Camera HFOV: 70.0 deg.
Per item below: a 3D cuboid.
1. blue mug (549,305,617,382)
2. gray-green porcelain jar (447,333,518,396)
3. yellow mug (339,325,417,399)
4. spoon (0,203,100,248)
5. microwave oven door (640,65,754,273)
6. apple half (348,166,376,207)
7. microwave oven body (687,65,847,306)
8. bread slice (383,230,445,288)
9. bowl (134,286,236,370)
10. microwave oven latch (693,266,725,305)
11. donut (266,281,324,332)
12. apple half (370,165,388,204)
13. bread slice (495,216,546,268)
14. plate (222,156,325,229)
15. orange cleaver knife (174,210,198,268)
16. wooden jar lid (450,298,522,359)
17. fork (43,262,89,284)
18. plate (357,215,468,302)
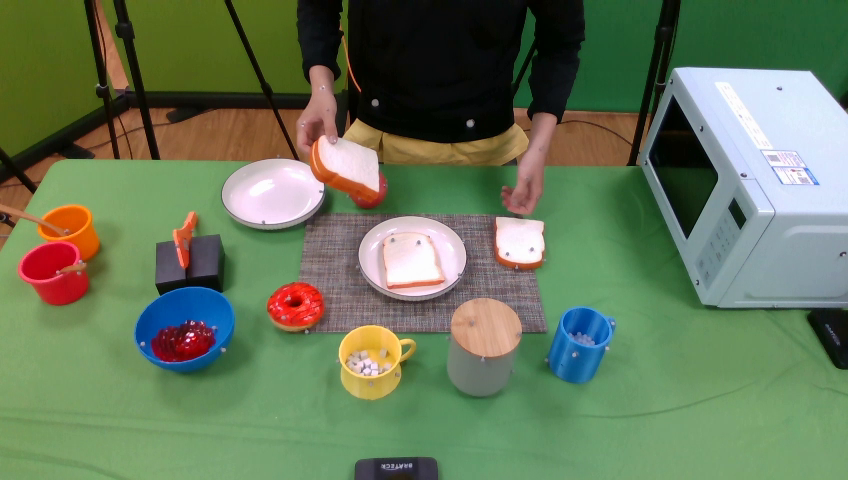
[{"bbox_3d":[0.269,0.166,0.998,0.116,0.106,0.082,-19,51,-21],"label":"blue mug"},{"bbox_3d":[0.091,0.178,0.960,0.106,0.127,0.105,2,47,-2],"label":"gray-green porcelain jar"},{"bbox_3d":[-0.072,0.190,0.978,0.131,0.064,0.099,-17,50,-20],"label":"yellow mug"},{"bbox_3d":[-0.683,-0.031,1.088,0.195,0.021,0.041,33,33,-38],"label":"spoon"},{"bbox_3d":[0.523,-0.147,1.193,0.039,0.245,0.353,0,47,-3],"label":"microwave oven door"},{"bbox_3d":[-0.130,-0.109,1.254,0.053,0.075,0.080,-10,50,-7],"label":"apple half"},{"bbox_3d":[0.669,-0.111,1.176,0.326,0.261,0.439,0,46,-3],"label":"microwave oven body"},{"bbox_3d":[-0.028,0.035,1.144,0.107,0.018,0.133,-7,48,-12],"label":"bread slice"},{"bbox_3d":[-0.377,0.155,0.981,0.151,0.077,0.150,2,46,-2],"label":"bowl"},{"bbox_3d":[0.523,0.082,1.115,0.030,0.029,0.078,3,46,0],"label":"microwave oven latch"},{"bbox_3d":[-0.222,0.115,1.049,0.099,0.048,0.098,2,45,-2],"label":"donut"},{"bbox_3d":[-0.091,-0.115,1.260,0.033,0.082,0.080,-9,48,-6],"label":"apple half"},{"bbox_3d":[0.194,0.002,1.204,0.105,0.019,0.131,6,45,2],"label":"bread slice"},{"bbox_3d":[-0.308,-0.095,1.251,0.209,0.038,0.208,2,47,-2],"label":"plate"},{"bbox_3d":[-0.436,-0.006,1.127,0.012,0.077,0.210,-13,19,-8],"label":"orange cleaver knife"},{"bbox_3d":[0.093,0.135,0.914,0.108,0.021,0.107,2,48,-3],"label":"wooden jar lid"},{"bbox_3d":[-0.599,0.053,1.014,0.207,0.019,0.028,-14,30,45],"label":"fork"},{"bbox_3d":[-0.022,0.037,1.141,0.208,0.039,0.206,2,46,-2],"label":"plate"}]
